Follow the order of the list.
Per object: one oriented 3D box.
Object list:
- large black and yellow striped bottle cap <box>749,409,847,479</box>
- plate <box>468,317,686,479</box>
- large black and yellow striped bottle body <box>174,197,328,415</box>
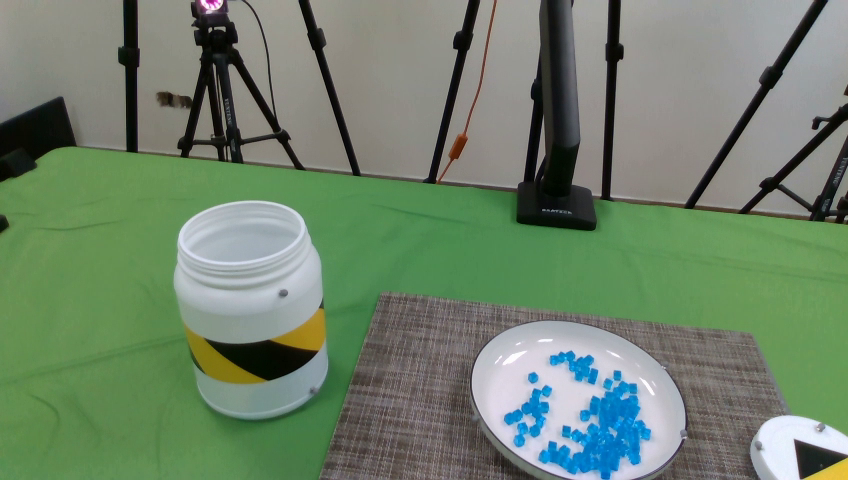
[{"bbox_3d":[0.363,0.206,0.559,0.115,0.019,0.114,5,36,-3],"label":"large black and yellow striped bottle cap"},{"bbox_3d":[0.146,0.157,0.597,0.208,0.039,0.205,2,34,-1],"label":"plate"},{"bbox_3d":[-0.164,0.063,0.588,0.131,0.185,0.129,2,34,-1],"label":"large black and yellow striped bottle body"}]
